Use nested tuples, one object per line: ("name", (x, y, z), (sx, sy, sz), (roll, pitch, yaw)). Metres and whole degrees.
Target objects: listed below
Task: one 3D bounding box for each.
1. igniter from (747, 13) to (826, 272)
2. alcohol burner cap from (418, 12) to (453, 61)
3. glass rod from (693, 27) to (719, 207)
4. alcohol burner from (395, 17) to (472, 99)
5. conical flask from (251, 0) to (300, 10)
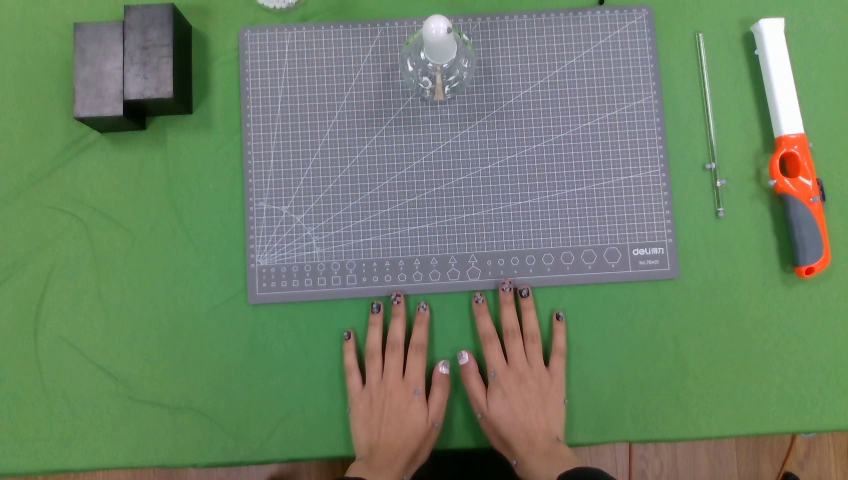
("igniter", (0.382, -0.104, 0.639), (0.057, 0.025, 0.276), (-6, 85, -11))
("alcohol burner cap", (0.010, -0.192, 0.563), (0.034, 0.048, 0.033), (-1, 79, 5))
("glass rod", (0.303, -0.134, 0.651), (0.008, 0.008, 0.199), (-4, 84, -1))
("alcohol burner", (0.010, -0.186, 0.599), (0.078, 0.119, 0.077), (0, 82, -1))
("conical flask", (-0.162, -0.292, 0.606), (0.075, 0.122, 0.075), (0, 84, 0))
